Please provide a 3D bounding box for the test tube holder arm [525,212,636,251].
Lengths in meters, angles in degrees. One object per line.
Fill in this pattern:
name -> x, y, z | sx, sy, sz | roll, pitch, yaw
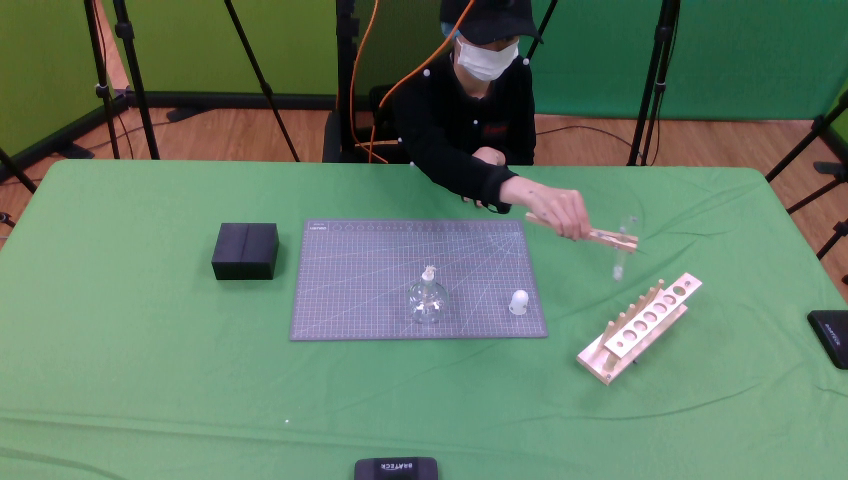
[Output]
test tube holder arm -> 0.248, -0.015, 0.972 | 0.178, 0.015, 0.013 | 17, 51, 18

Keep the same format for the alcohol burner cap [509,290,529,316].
alcohol burner cap -> 0.171, 0.110, 1.086 | 0.034, 0.048, 0.033 | 2, 46, -1

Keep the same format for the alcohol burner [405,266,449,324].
alcohol burner -> 0.005, 0.089, 1.043 | 0.078, 0.120, 0.077 | 1, 44, -1

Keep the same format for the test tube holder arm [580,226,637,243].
test tube holder arm -> 0.292, -0.008, 0.963 | 0.087, 0.015, 0.010 | 11, 50, 13

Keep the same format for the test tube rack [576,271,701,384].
test tube rack -> 0.373, 0.138, 1.047 | 0.242, 0.085, 0.066 | -31, 56, -29

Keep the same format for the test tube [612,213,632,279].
test tube -> 0.315, 0.013, 0.968 | 0.017, 0.151, 0.017 | -5, 48, 5
